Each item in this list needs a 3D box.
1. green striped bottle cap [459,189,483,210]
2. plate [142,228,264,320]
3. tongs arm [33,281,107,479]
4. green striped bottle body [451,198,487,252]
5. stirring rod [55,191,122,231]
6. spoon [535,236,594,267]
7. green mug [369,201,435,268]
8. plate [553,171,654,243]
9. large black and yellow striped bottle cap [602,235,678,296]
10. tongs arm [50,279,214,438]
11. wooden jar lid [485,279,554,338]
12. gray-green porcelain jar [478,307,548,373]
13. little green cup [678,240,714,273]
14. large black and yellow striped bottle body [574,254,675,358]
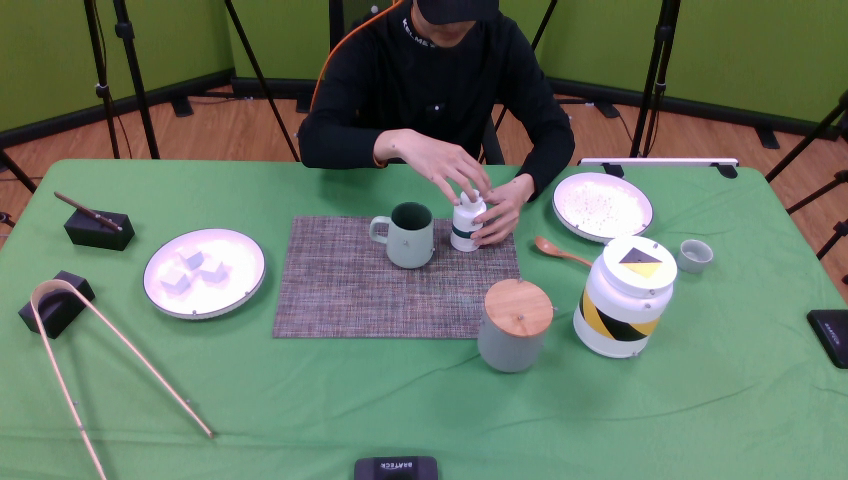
[{"bbox_3d":[0.088,-0.075,1.127,0.044,0.020,0.044,2,42,-1],"label":"green striped bottle cap"},{"bbox_3d":[-0.394,0.064,1.095,0.208,0.039,0.206,2,46,-2],"label":"plate"},{"bbox_3d":[-0.517,0.214,0.910,0.051,0.026,0.383,-28,63,-27],"label":"tongs arm"},{"bbox_3d":[0.087,-0.039,1.166,0.063,0.120,0.063,2,46,-2],"label":"green striped bottle body"},{"bbox_3d":[-0.632,-0.055,1.138,0.175,0.014,0.006,24,50,19],"label":"stirring rod"},{"bbox_3d":[0.303,0.040,1.178,0.193,0.022,0.041,25,31,19],"label":"spoon"},{"bbox_3d":[-0.042,-0.011,1.141,0.125,0.105,0.092,8,47,5],"label":"green mug"},{"bbox_3d":[0.374,-0.066,1.275,0.209,0.038,0.208,2,46,-2],"label":"plate"},{"bbox_3d":[0.340,0.037,0.955,0.115,0.019,0.114,2,47,-1],"label":"large black and yellow striped bottle cap"},{"bbox_3d":[-0.459,0.178,0.949,0.386,0.028,0.028,37,60,17],"label":"tongs arm"},{"bbox_3d":[0.147,0.108,0.940,0.108,0.021,0.107,4,47,-4],"label":"wooden jar lid"},{"bbox_3d":[0.144,0.148,0.989,0.106,0.127,0.105,2,50,-2],"label":"gray-green porcelain jar"},{"bbox_3d":[0.531,0.034,1.189,0.061,0.039,0.061,1,46,-1],"label":"little green cup"},{"bbox_3d":[0.335,0.096,1.014,0.131,0.185,0.130,2,46,-2],"label":"large black and yellow striped bottle body"}]
